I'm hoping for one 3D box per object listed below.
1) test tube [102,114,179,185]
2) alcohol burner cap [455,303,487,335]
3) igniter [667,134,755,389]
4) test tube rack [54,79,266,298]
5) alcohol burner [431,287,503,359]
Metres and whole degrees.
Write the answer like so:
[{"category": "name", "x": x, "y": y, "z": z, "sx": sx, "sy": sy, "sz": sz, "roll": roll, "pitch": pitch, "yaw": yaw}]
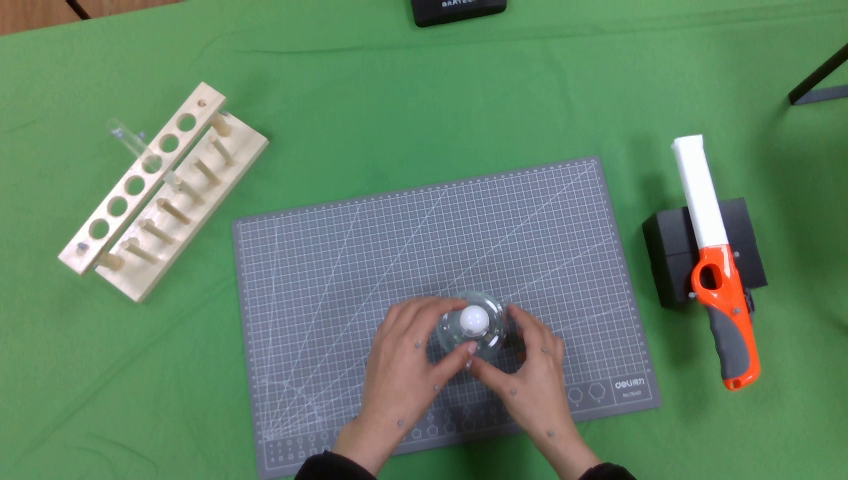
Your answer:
[{"category": "test tube", "x": -0.298, "y": -0.092, "z": 0.648, "sx": 0.017, "sy": 0.151, "sz": 0.017, "roll": -1, "pitch": 73, "yaw": 2}, {"category": "alcohol burner cap", "x": 0.047, "y": 0.078, "z": 0.603, "sx": 0.034, "sy": 0.048, "sz": 0.033, "roll": -1, "pitch": 80, "yaw": 5}, {"category": "igniter", "x": 0.305, "y": 0.017, "z": 0.647, "sx": 0.057, "sy": 0.025, "sz": 0.275, "roll": -7, "pitch": 76, "yaw": 2}, {"category": "test tube rack", "x": -0.292, "y": -0.056, "z": 0.690, "sx": 0.066, "sy": 0.085, "sz": 0.242, "roll": 34, "pitch": 80, "yaw": 9}, {"category": "alcohol burner", "x": 0.046, "y": 0.085, "z": 0.638, "sx": 0.078, "sy": 0.119, "sz": 0.077, "roll": 0, "pitch": 74, "yaw": 0}]
